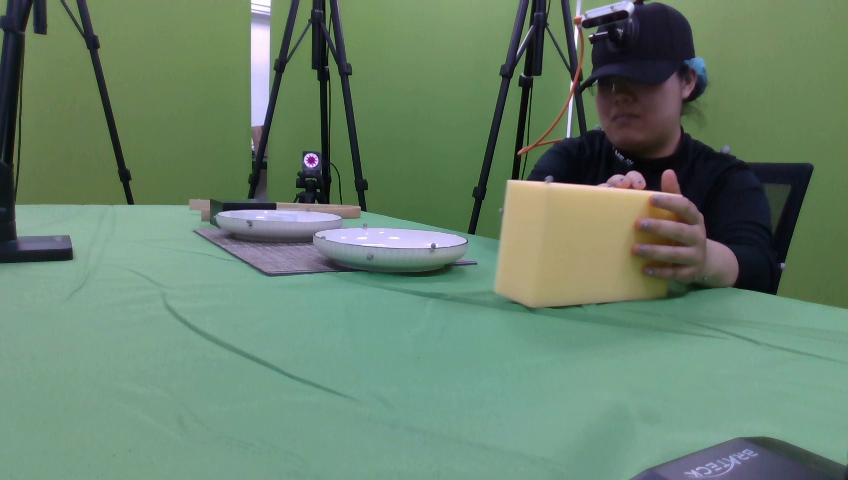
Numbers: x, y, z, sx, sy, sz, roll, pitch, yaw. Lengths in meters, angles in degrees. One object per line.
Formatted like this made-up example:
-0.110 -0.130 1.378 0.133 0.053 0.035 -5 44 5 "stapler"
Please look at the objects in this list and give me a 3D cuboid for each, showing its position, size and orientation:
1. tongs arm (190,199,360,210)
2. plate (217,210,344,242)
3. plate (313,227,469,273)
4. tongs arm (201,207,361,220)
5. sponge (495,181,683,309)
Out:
-0.341 -0.075 1.419 0.387 0.026 0.050 0 8 -25 "tongs arm"
-0.241 -0.024 1.026 0.208 0.039 0.207 3 7 0 "plate"
-0.044 0.012 0.808 0.209 0.038 0.209 2 7 0 "plate"
-0.302 -0.060 1.350 0.390 0.028 0.028 -3 7 -38 "tongs arm"
0.178 0.004 0.639 0.208 0.118 0.060 1 11 -34 "sponge"
